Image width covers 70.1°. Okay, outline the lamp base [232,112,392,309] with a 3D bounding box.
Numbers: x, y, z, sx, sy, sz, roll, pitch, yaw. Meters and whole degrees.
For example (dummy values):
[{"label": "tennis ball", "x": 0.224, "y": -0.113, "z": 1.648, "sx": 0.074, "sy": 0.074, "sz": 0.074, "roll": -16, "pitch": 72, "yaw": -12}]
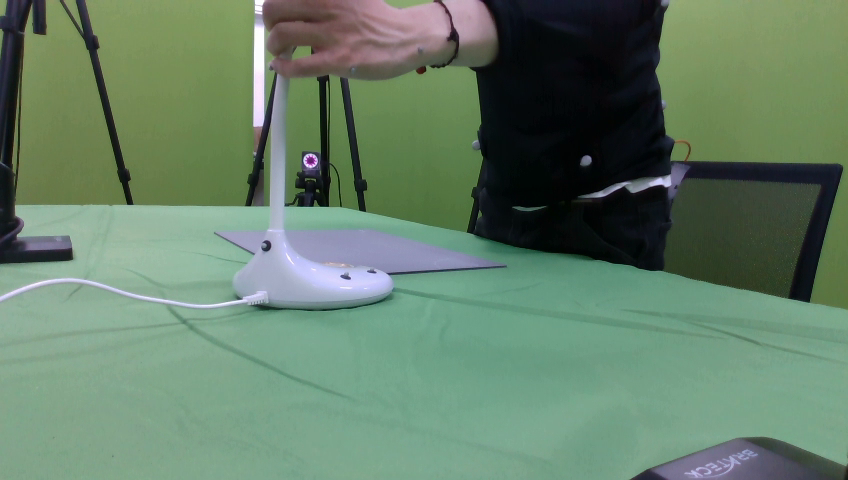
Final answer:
[{"label": "lamp base", "x": -0.113, "y": -0.031, "z": 0.594, "sx": 0.160, "sy": 0.180, "sz": 0.179, "roll": 4, "pitch": 10, "yaw": 18}]
